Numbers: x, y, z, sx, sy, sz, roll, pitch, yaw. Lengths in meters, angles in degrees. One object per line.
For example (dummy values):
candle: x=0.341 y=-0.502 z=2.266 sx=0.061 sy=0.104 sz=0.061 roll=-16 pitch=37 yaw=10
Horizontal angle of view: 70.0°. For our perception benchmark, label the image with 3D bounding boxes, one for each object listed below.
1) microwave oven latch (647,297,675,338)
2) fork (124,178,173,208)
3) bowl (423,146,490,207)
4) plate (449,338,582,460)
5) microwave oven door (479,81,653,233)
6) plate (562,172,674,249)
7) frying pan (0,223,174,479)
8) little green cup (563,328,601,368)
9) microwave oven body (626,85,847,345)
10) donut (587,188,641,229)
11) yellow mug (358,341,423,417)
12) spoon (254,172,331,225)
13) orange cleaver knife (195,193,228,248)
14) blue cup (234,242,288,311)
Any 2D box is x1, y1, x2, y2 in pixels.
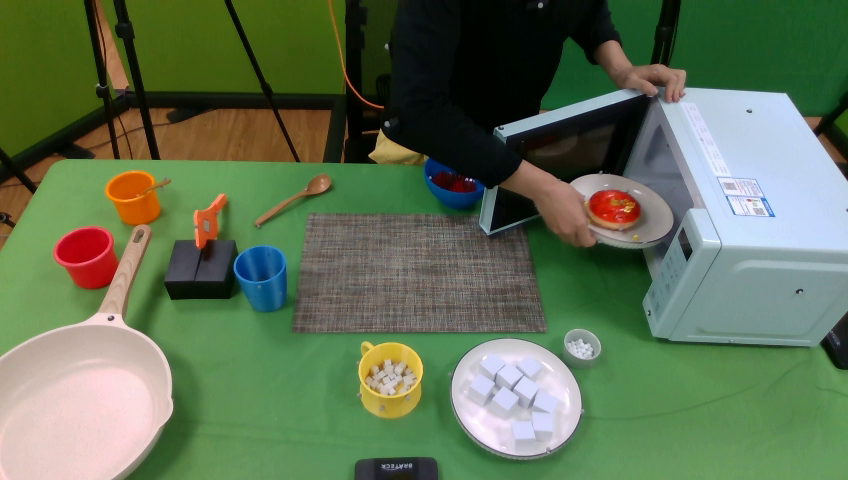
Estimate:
microwave oven latch: x=0.413 y=0.133 z=1.060 sx=0.030 sy=0.029 sz=0.078 roll=5 pitch=46 yaw=2
fork: x=-0.525 y=-0.090 z=1.154 sx=0.207 sy=0.019 sz=0.028 roll=-17 pitch=27 yaw=45
bowl: x=0.073 y=-0.123 z=1.277 sx=0.151 sy=0.077 sz=0.150 roll=2 pitch=46 yaw=-2
plate: x=0.141 y=0.251 z=0.955 sx=0.208 sy=0.039 sz=0.206 roll=2 pitch=46 yaw=-2
microwave oven door: x=0.279 y=-0.164 z=1.193 sx=0.356 sy=0.245 sz=0.039 roll=-20 pitch=51 yaw=-21
plate: x=0.361 y=-0.053 z=1.143 sx=0.209 sy=0.038 sz=0.208 roll=4 pitch=42 yaw=-3
frying pan: x=-0.505 y=0.169 z=0.941 sx=0.307 sy=0.103 sz=0.485 roll=5 pitch=54 yaw=-1
little green cup: x=0.266 y=0.185 z=1.025 sx=0.061 sy=0.039 sz=0.061 roll=1 pitch=45 yaw=-1
microwave oven body: x=0.568 y=-0.054 z=1.116 sx=0.326 sy=0.261 sz=0.439 roll=2 pitch=46 yaw=-1
donut: x=0.354 y=-0.060 z=1.133 sx=0.099 sy=0.048 sz=0.098 roll=0 pitch=41 yaw=0
yellow mug: x=-0.062 y=0.210 z=0.961 sx=0.100 sy=0.064 sz=0.130 roll=-29 pitch=54 yaw=-27
spoon: x=-0.272 y=-0.087 z=1.257 sx=0.041 sy=0.022 sz=0.193 roll=46 pitch=57 yaw=12
orange cleaver knife: x=-0.406 y=-0.041 z=1.163 sx=0.012 sy=0.077 sz=0.210 roll=-1 pitch=18 yaw=-3
blue cup: x=-0.276 y=0.072 z=1.052 sx=0.092 sy=0.101 sz=0.092 roll=1 pitch=48 yaw=-1
